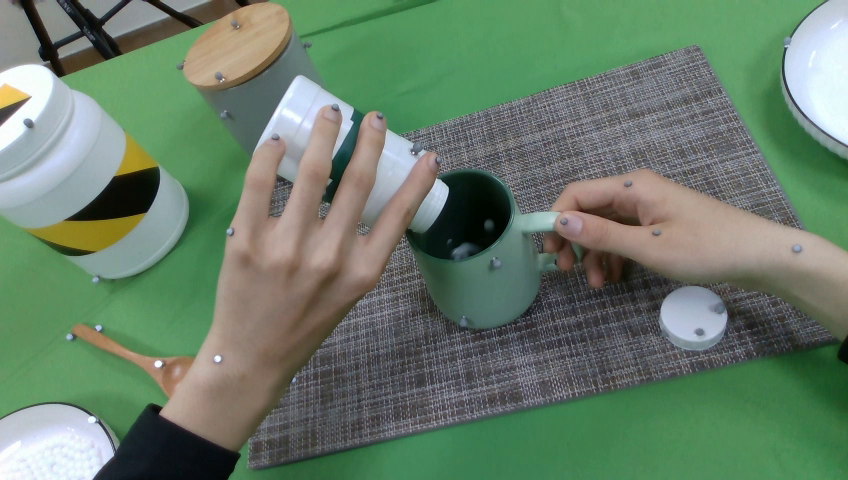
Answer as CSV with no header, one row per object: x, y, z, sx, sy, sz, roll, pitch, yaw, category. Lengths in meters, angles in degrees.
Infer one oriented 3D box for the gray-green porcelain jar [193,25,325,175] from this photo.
-0.151,-0.135,0.597,0.105,0.128,0.105,-10,53,13,gray-green porcelain jar

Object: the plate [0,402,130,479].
-0.321,0.235,0.481,0.209,0.038,0.207,-9,57,14,plate

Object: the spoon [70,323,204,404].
-0.267,0.104,0.554,0.192,0.022,0.041,14,84,25,spoon

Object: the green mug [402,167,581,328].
0.053,0.005,0.451,0.125,0.106,0.091,-8,57,14,green mug

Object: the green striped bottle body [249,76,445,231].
-0.046,-0.049,0.395,0.120,0.063,0.063,28,64,-16,green striped bottle body

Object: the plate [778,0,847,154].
0.388,-0.130,0.466,0.207,0.039,0.205,-9,57,14,plate

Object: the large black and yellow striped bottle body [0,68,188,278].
-0.334,-0.058,0.578,0.130,0.186,0.129,-8,57,14,large black and yellow striped bottle body

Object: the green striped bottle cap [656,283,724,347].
0.189,0.053,0.431,0.044,0.020,0.044,-9,51,12,green striped bottle cap

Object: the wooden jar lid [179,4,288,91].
-0.169,-0.171,0.548,0.108,0.021,0.107,-11,55,16,wooden jar lid

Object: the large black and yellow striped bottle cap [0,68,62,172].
-0.358,-0.099,0.509,0.115,0.019,0.114,-9,56,13,large black and yellow striped bottle cap
